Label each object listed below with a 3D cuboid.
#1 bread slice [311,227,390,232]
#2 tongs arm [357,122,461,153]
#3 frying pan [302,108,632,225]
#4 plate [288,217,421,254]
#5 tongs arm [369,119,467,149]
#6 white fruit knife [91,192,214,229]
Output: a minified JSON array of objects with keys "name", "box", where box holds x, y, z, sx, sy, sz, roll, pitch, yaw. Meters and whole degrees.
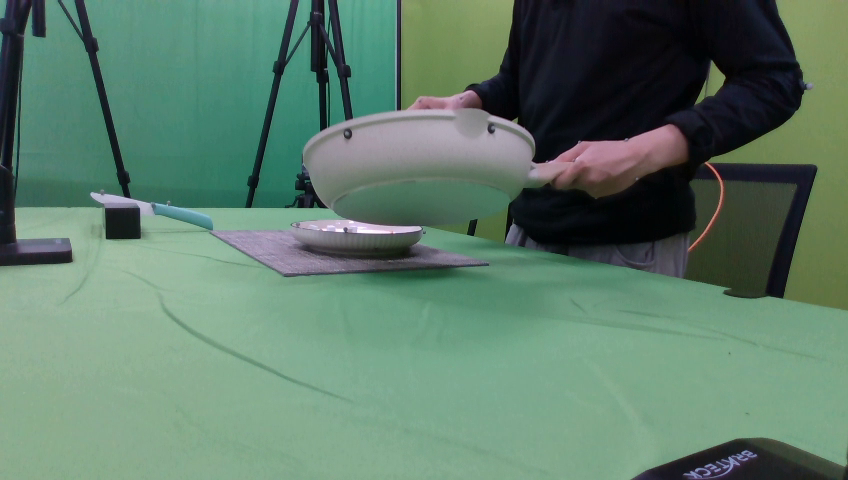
[{"name":"bread slice","box":[-0.115,-0.005,0.950,0.134,0.018,0.107,3,6,-7]},{"name":"tongs arm","box":[-0.012,-0.183,1.056,0.050,0.026,0.386,-14,7,22]},{"name":"frying pan","box":[0.089,-0.090,0.804,0.490,0.102,0.306,-7,-8,-24]},{"name":"plate","box":[-0.109,-0.007,0.956,0.208,0.039,0.207,2,7,0]},{"name":"tongs arm","box":[0.004,-0.187,1.047,0.028,0.028,0.389,-18,5,28]},{"name":"white fruit knife","box":[-0.478,-0.055,1.077,0.208,0.027,0.016,14,-2,-30]}]
